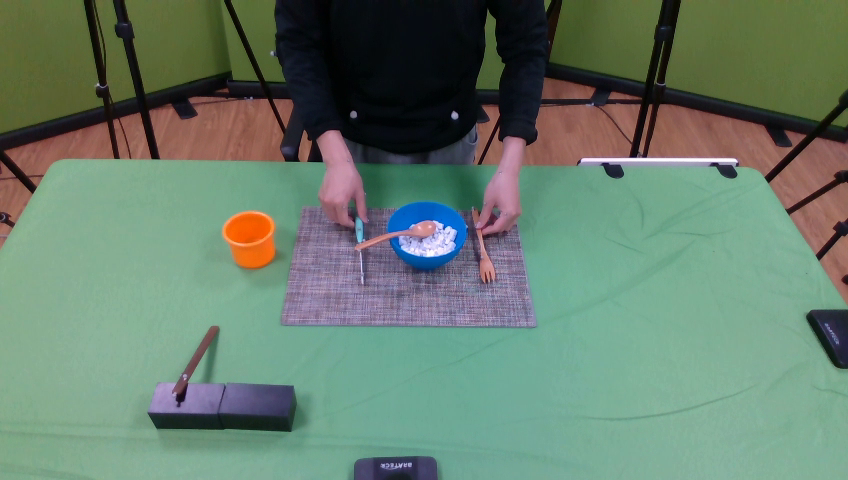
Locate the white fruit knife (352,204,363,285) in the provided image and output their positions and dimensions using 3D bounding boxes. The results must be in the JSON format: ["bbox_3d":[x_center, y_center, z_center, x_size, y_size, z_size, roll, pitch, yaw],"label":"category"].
[{"bbox_3d":[-0.126,0.004,1.173,0.016,0.027,0.206,-7,50,-4],"label":"white fruit knife"}]

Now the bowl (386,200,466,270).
[{"bbox_3d":[0.002,0.003,1.150,0.151,0.077,0.150,2,46,-2],"label":"bowl"}]

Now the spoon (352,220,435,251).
[{"bbox_3d":[-0.054,-0.009,1.109,0.194,0.022,0.041,-14,41,-43],"label":"spoon"}]

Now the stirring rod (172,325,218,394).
[{"bbox_3d":[-0.360,0.185,0.962,0.014,0.006,0.175,0,26,1],"label":"stirring rod"}]

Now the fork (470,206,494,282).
[{"bbox_3d":[0.111,0.005,1.194,0.028,0.019,0.206,-13,50,7],"label":"fork"}]
